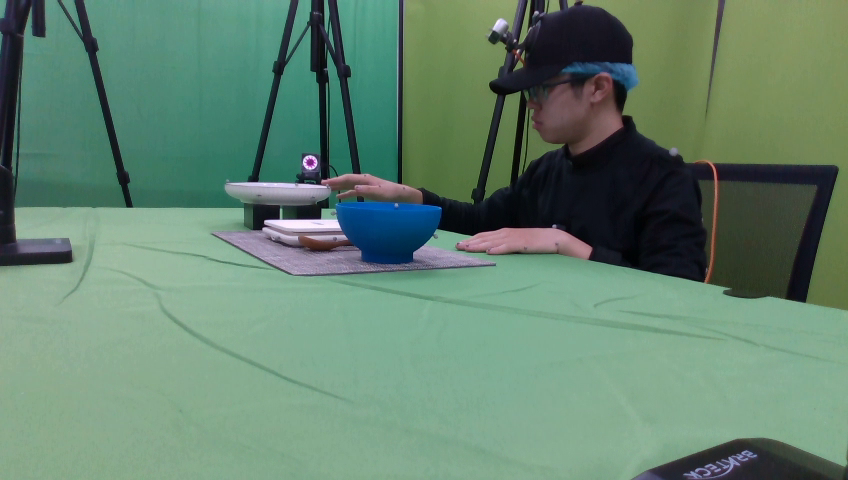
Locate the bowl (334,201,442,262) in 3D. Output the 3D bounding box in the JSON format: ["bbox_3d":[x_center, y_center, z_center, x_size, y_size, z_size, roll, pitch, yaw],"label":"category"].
[{"bbox_3d":[-0.051,-0.012,0.848,0.151,0.077,0.151,2,7,0],"label":"bowl"}]

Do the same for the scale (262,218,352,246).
[{"bbox_3d":[-0.160,-0.016,1.028,0.202,0.031,0.148,-2,8,-32],"label":"scale"}]

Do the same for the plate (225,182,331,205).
[{"bbox_3d":[-0.294,-0.096,1.229,0.209,0.038,0.209,3,7,0],"label":"plate"}]

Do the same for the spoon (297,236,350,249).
[{"bbox_3d":[-0.103,0.002,0.943,0.195,0.021,0.041,-2,-6,-30],"label":"spoon"}]
